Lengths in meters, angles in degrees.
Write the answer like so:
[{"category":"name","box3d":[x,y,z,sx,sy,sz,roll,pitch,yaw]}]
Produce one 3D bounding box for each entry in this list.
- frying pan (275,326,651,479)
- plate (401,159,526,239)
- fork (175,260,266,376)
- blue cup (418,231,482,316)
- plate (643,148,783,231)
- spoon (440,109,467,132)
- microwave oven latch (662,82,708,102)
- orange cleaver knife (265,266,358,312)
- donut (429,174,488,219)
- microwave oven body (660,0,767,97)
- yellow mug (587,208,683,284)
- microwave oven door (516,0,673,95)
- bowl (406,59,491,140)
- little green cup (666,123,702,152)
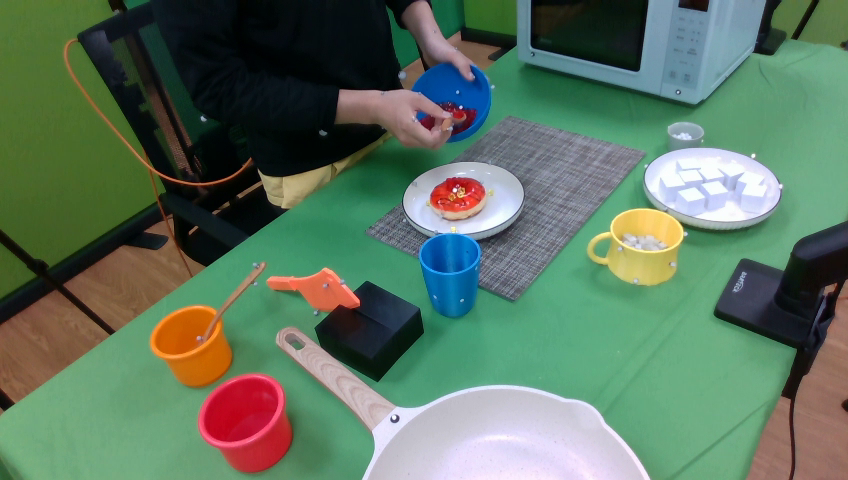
[{"category":"frying pan","box3d":[0.003,0.229,0.641,0.484,0.103,0.308,34,54,28]},{"category":"plate","box3d":[0.067,-0.065,1.019,0.209,0.038,0.208,-4,40,4]},{"category":"fork","box3d":[-0.268,0.103,0.792,0.207,0.019,0.028,-51,41,16]},{"category":"blue cup","box3d":[0.040,0.053,0.843,0.092,0.100,0.092,-4,43,4]},{"category":"plate","box3d":[0.464,-0.080,0.986,0.207,0.039,0.206,-4,40,4]},{"category":"spoon","box3d":[0.041,-0.191,0.957,0.041,0.021,0.194,3,16,8]},{"category":"microwave oven latch","box3d":[0.518,-0.299,1.202,0.078,0.029,0.030,29,53,35]},{"category":"orange cleaver knife","box3d":[-0.164,0.073,0.864,0.210,0.077,0.012,-6,31,50]},{"category":"donut","box3d":[0.057,-0.075,1.015,0.099,0.048,0.098,-5,38,5]},{"category":"microwave oven body","box3d":[0.473,-0.516,1.313,0.438,0.261,0.327,26,51,34]},{"category":"yellow mug","box3d":[0.305,0.009,0.884,0.131,0.064,0.099,-4,41,5]},{"category":"microwave oven door","box3d":[0.344,-0.458,1.256,0.353,0.245,0.039,26,51,33]},{"category":"bowl","box3d":[0.051,-0.233,1.066,0.151,0.077,0.151,-5,69,15]},{"category":"little green cup","box3d":[0.472,-0.183,1.102,0.061,0.039,0.061,-5,39,4]}]
